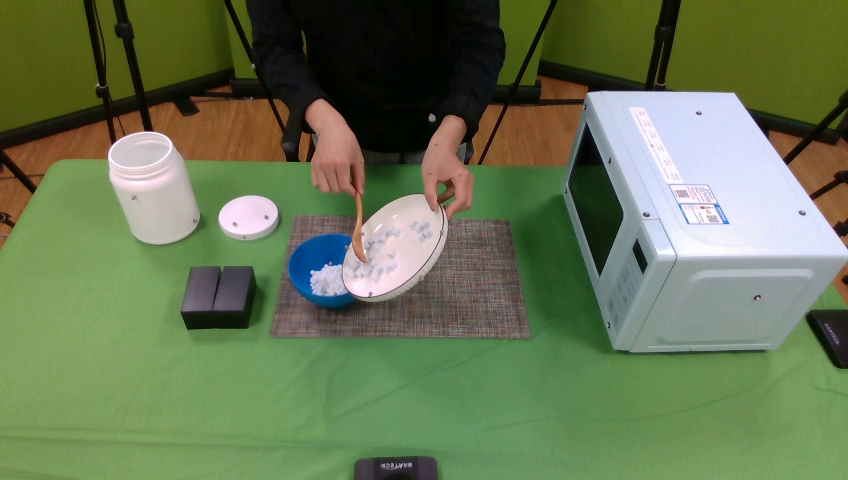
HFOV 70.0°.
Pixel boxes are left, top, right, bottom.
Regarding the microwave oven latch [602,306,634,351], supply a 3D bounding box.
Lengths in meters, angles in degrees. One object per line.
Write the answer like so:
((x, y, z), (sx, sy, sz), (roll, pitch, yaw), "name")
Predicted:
((0.332, 0.153, 1.044), (0.030, 0.029, 0.078), (0, 45, -4), "microwave oven latch")

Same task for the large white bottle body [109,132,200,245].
((-0.506, -0.097, 1.141), (0.131, 0.185, 0.130), (2, 46, -2), "large white bottle body")

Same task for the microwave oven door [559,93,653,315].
((0.327, -0.074, 1.123), (0.039, 0.245, 0.353), (-1, 46, -5), "microwave oven door")

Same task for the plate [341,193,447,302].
((-0.046, 0.015, 0.992), (0.209, 0.038, 0.208), (-26, 41, 25), "plate")

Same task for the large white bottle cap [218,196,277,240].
((-0.355, -0.045, 1.220), (0.115, 0.018, 0.114), (2, 45, -1), "large white bottle cap")

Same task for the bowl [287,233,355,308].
((-0.165, 0.068, 1.078), (0.151, 0.077, 0.150), (3, 45, -3), "bowl")

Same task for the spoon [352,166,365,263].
((-0.112, -0.047, 1.039), (0.021, 0.042, 0.192), (-7, 61, 8), "spoon")

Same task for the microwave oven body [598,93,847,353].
((0.475, -0.041, 1.109), (0.326, 0.261, 0.438), (-1, 45, -4), "microwave oven body")
